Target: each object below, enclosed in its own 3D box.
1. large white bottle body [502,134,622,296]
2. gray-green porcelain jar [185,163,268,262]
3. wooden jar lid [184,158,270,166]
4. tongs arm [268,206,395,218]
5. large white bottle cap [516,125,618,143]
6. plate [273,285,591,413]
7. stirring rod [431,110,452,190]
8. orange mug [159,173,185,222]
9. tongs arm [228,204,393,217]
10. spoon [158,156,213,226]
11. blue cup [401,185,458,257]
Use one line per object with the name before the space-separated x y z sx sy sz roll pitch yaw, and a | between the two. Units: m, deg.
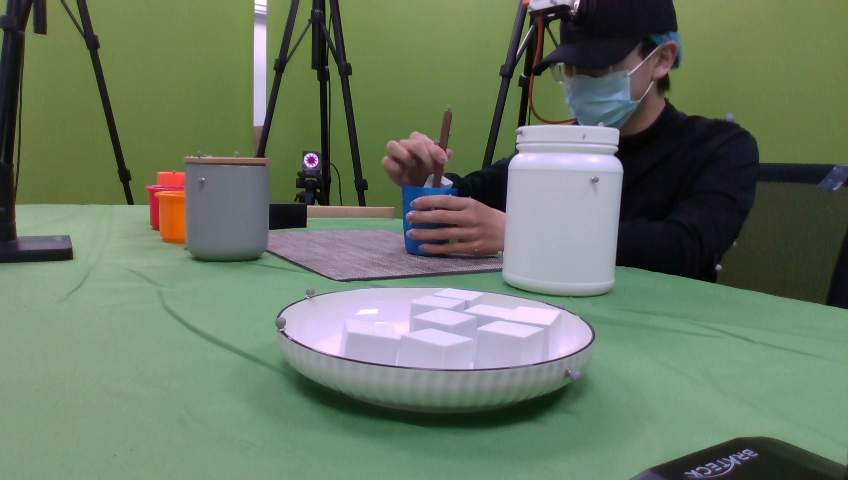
large white bottle body | 0.160 -0.037 0.706 0.131 0.184 0.130 2 7 0
gray-green porcelain jar | -0.263 -0.038 0.808 0.106 0.126 0.106 3 8 0
wooden jar lid | -0.260 -0.099 0.801 0.108 0.020 0.108 0 9 0
tongs arm | -0.230 -0.064 1.379 0.387 0.026 0.050 -1 3 -31
large white bottle cap | 0.163 -0.120 0.695 0.115 0.018 0.115 2 8 0
plate | 0.005 0.069 0.407 0.208 0.039 0.207 2 7 0
stirring rod | 0.021 -0.101 0.878 0.014 0.176 0.006 14 10 34
orange mug | -0.477 -0.089 1.241 0.127 0.101 0.083 -7 11 -33
tongs arm | -0.267 -0.070 1.453 0.389 0.027 0.028 0 -1 -18
spoon | -0.435 -0.094 1.121 0.041 0.022 0.193 5 51 13
blue cup | 0.006 -0.029 0.908 0.093 0.100 0.092 3 10 0
